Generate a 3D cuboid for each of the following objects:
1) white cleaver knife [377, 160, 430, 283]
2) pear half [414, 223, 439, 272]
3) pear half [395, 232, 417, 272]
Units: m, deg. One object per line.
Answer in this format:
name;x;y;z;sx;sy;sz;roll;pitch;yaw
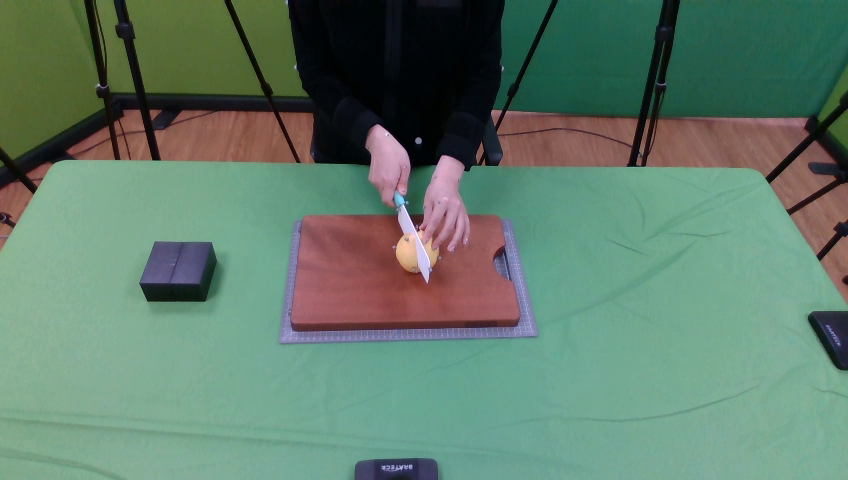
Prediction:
white cleaver knife;-0.041;-0.040;1.104;0.021;0.066;0.284;-9;51;-17
pear half;-0.001;0.006;1.093;0.056;0.110;0.076;-17;54;-18
pear half;-0.036;0.022;1.089;0.031;0.088;0.070;-20;55;-18
